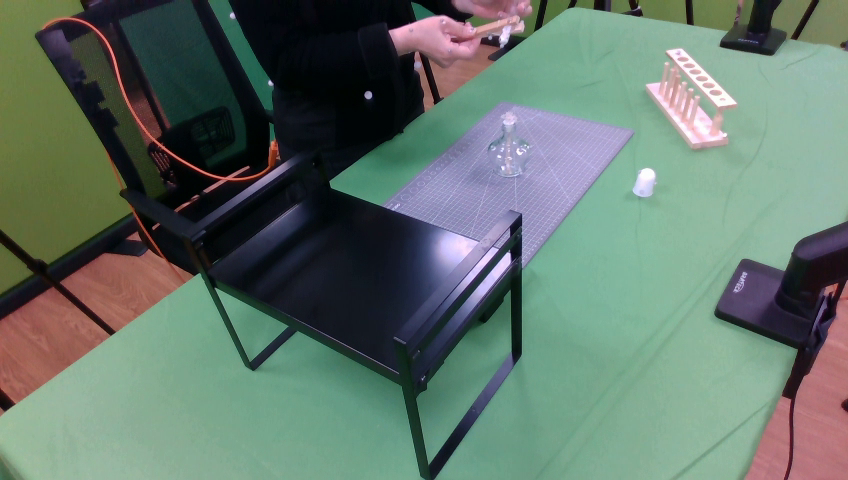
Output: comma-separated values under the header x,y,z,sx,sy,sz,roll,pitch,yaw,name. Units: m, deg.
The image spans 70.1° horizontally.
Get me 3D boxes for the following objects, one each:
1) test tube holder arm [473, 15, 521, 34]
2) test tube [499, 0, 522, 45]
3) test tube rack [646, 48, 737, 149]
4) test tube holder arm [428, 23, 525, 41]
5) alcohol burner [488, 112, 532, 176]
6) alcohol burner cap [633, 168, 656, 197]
x,y,z,sx,sy,sz,roll,pitch,yaw,name
0.117,-0.345,0.976,0.087,0.010,0.015,0,64,43,test tube holder arm
0.147,-0.379,0.977,0.017,0.017,0.150,12,74,22,test tube
0.511,-0.280,1.175,0.067,0.085,0.241,-8,41,1,test tube rack
0.084,-0.345,1.006,0.177,0.013,0.015,6,67,33,test tube holder arm
0.155,-0.176,1.083,0.078,0.119,0.077,-3,41,3,alcohol burner
0.374,-0.099,1.018,0.034,0.048,0.033,-1,42,1,alcohol burner cap
